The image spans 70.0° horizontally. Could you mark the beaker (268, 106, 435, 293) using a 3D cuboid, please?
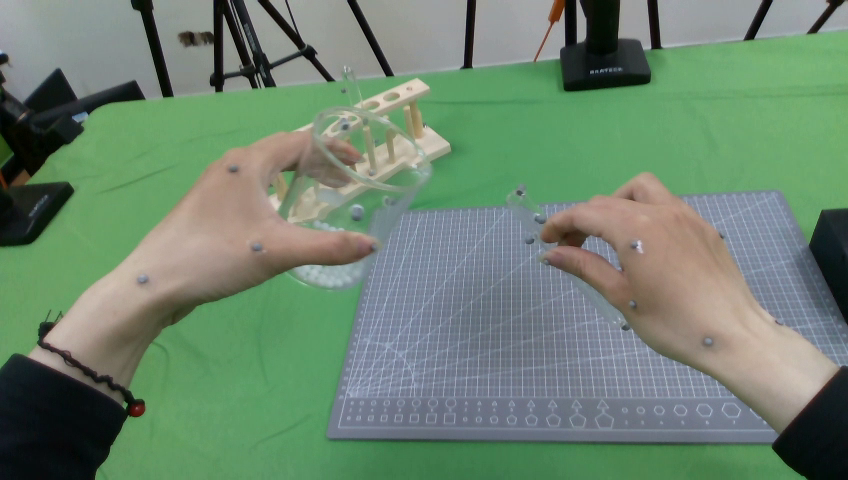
[{"bbox_3d":[-0.049,-0.021,0.383,0.084,0.100,0.073,8,44,-33],"label":"beaker"}]

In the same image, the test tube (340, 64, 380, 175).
[{"bbox_3d":[-0.076,-0.142,0.731,0.017,0.152,0.017,-7,42,7],"label":"test tube"}]

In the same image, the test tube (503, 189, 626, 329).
[{"bbox_3d":[0.103,0.018,0.428,0.017,0.151,0.017,-32,31,23],"label":"test tube"}]

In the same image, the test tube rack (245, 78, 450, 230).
[{"bbox_3d":[-0.091,-0.113,0.769,0.242,0.086,0.066,-28,45,-16],"label":"test tube rack"}]
